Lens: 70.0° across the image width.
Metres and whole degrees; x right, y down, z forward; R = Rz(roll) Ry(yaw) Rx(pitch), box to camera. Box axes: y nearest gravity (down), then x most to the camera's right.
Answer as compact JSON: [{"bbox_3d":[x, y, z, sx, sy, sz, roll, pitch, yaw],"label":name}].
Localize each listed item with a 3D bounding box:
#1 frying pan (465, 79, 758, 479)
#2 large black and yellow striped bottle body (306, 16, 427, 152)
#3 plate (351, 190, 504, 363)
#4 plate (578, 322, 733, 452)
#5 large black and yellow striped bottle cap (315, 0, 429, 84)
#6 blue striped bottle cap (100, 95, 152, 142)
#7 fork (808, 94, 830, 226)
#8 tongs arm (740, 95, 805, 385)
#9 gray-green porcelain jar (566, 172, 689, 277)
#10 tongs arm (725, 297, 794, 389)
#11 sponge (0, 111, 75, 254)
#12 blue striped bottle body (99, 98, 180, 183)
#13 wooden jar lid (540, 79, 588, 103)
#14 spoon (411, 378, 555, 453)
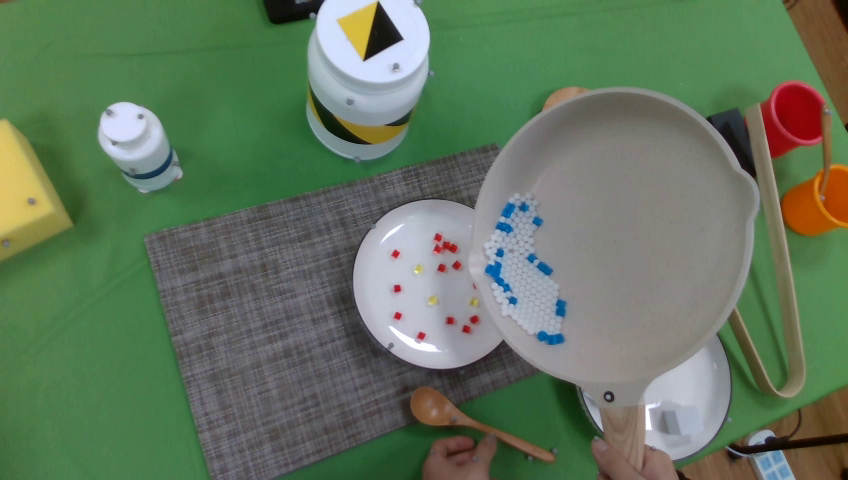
[{"bbox_3d":[0.180,0.089,0.586,0.103,0.306,0.485,17,66,-45],"label":"frying pan"},{"bbox_3d":[-0.069,-0.193,0.694,0.131,0.184,0.130,3,75,-11],"label":"large black and yellow striped bottle body"},{"bbox_3d":[0.015,0.043,0.728,0.210,0.038,0.208,3,76,-11],"label":"plate"},{"bbox_3d":[0.284,0.157,0.762,0.208,0.039,0.206,3,76,-11],"label":"plate"},{"bbox_3d":[-0.052,-0.213,0.613,0.115,0.019,0.114,3,75,-10],"label":"large black and yellow striped bottle cap"},{"bbox_3d":[-0.298,-0.122,0.607,0.045,0.021,0.044,3,74,-9],"label":"blue striped bottle cap"},{"bbox_3d":[0.537,-0.104,0.818,0.028,0.018,0.209,-30,128,-9],"label":"fork"},{"bbox_3d":[0.464,-0.002,0.811,0.028,0.027,0.387,-8,88,-22],"label":"tongs arm"},{"bbox_3d":[0.243,-0.014,0.747,0.106,0.127,0.105,3,75,-11],"label":"gray-green porcelain jar"},{"bbox_3d":[0.387,0.022,0.787,0.051,0.026,0.385,-23,92,-18],"label":"tongs arm"},{"bbox_3d":[-0.500,-0.031,0.628,0.207,0.061,0.118,-31,85,-18],"label":"sponge"},{"bbox_3d":[-0.308,-0.110,0.656,0.063,0.121,0.063,3,76,-11],"label":"blue striped bottle body"},{"bbox_3d":[0.208,-0.169,0.833,0.109,0.021,0.108,3,78,-11],"label":"wooden jar lid"},{"bbox_3d":[0.071,0.212,0.709,0.194,0.022,0.041,24,59,-7],"label":"spoon"}]
